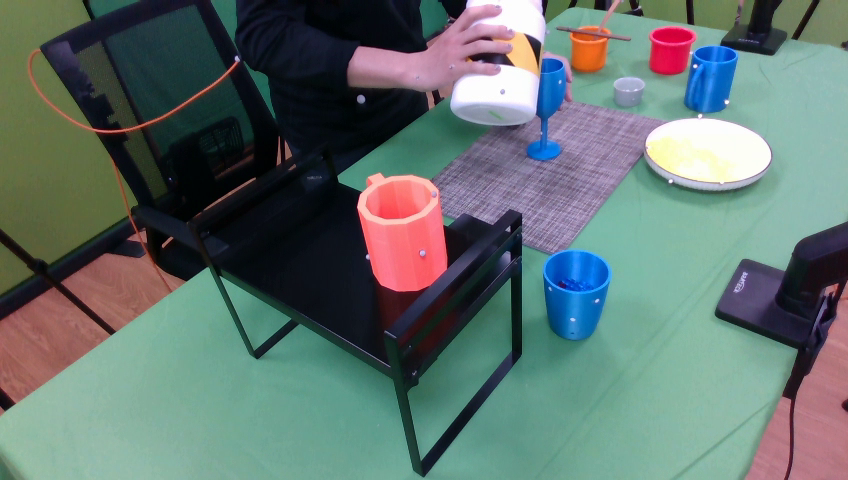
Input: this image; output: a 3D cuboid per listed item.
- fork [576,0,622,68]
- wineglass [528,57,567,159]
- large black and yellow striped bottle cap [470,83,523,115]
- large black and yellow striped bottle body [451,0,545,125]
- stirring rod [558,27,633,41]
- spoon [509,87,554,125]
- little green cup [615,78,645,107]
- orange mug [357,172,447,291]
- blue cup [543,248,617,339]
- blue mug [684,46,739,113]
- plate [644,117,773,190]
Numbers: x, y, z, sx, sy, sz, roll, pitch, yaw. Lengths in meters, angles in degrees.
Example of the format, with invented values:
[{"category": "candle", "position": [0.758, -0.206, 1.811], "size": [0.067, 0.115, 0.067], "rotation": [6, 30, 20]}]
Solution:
[{"category": "fork", "position": [0.409, -0.484, 1.381], "size": [0.028, 0.019, 0.207], "rotation": [37, 101, 46]}, {"category": "wineglass", "position": [0.221, -0.237, 1.097], "size": [0.074, 0.173, 0.073], "rotation": [-4, 41, 4]}, {"category": "large black and yellow striped bottle cap", "position": [0.156, -0.307, 1.316], "size": [0.115, 0.019, 0.114], "rotation": [-7, 39, 6]}, {"category": "large black and yellow striped bottle body", "position": [0.115, -0.279, 0.921], "size": [0.131, 0.183, 0.131], "rotation": [6, -2, 1]}, {"category": "stirring rod", "position": [0.381, -0.463, 1.356], "size": [0.175, 0.006, 0.014], "rotation": [21, 47, 30]}, {"category": "spoon", "position": [0.227, -0.285, 1.269], "size": [0.041, 0.022, 0.194], "rotation": [3, 37, 44]}, {"category": "little green cup", "position": [0.426, -0.306, 1.257], "size": [0.061, 0.039, 0.061], "rotation": [-4, 40, 4]}, {"category": "orange mug", "position": [-0.030, -0.018, 0.669], "size": [0.084, 0.101, 0.125], "rotation": [-23, 46, -16]}, {"category": "blue cup", "position": [0.199, 0.076, 0.797], "size": [0.092, 0.100, 0.092], "rotation": [-4, 39, 4]}, {"category": "blue mug", "position": [0.556, -0.310, 1.190], "size": [0.117, 0.106, 0.081], "rotation": [-32, 46, -25]}, {"category": "plate", "position": [0.495, -0.148, 1.063], "size": [0.209, 0.038, 0.208], "rotation": [-5, 40, 4]}]
